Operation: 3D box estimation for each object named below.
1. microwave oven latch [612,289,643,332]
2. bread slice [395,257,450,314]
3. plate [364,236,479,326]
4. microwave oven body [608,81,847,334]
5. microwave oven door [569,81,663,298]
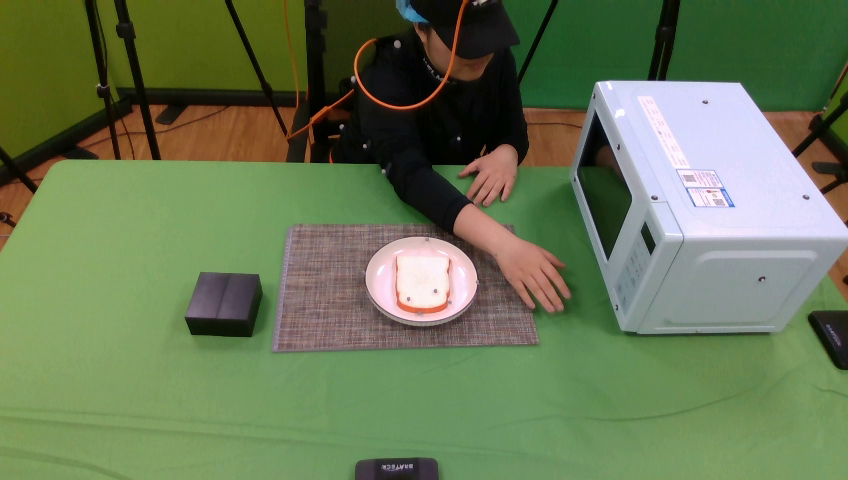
[{"bbox_3d":[0.357,0.124,1.068,0.030,0.029,0.078,0,45,-3],"label":"microwave oven latch"},{"bbox_3d":[-0.001,0.080,1.109,0.105,0.019,0.130,1,45,-2],"label":"bread slice"},{"bbox_3d":[-0.004,0.078,1.107,0.209,0.038,0.208,2,46,-2],"label":"plate"},{"bbox_3d":[0.501,-0.070,1.132,0.326,0.261,0.438,-1,45,-4],"label":"microwave oven body"},{"bbox_3d":[0.353,-0.103,1.147,0.039,0.245,0.353,0,46,-4],"label":"microwave oven door"}]
